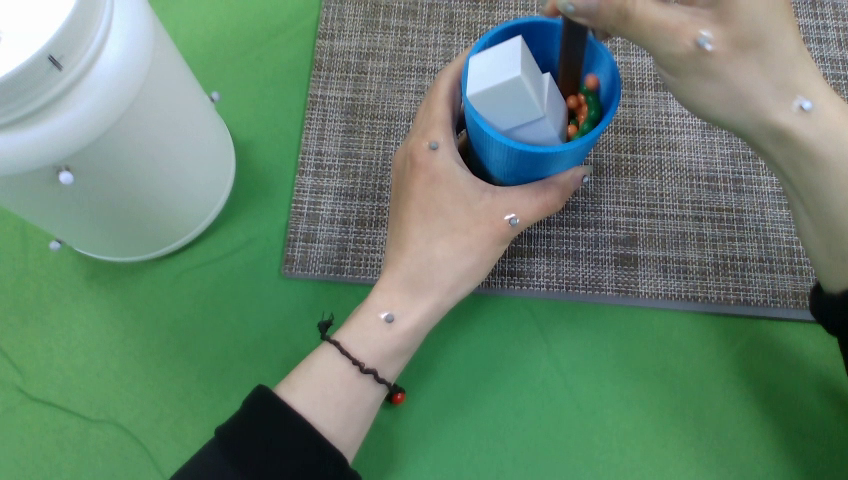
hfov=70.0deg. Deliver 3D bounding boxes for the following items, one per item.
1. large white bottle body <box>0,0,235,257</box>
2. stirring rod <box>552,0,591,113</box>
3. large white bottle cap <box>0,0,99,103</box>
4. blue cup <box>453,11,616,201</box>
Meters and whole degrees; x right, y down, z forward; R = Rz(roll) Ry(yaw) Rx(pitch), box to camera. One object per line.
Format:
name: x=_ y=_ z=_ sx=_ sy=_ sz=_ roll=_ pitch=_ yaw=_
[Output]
large white bottle body: x=-0.193 y=-0.076 z=0.328 sx=0.130 sy=0.185 sz=0.130 roll=0 pitch=72 yaw=0
stirring rod: x=0.075 y=-0.106 z=0.302 sx=0.014 sy=0.177 sz=0.005 roll=-26 pitch=67 yaw=-3
large white bottle cap: x=-0.194 y=-0.104 z=0.248 sx=0.115 sy=0.018 sz=0.114 roll=0 pitch=72 yaw=0
blue cup: x=0.060 y=-0.069 z=0.365 sx=0.092 sy=0.101 sz=0.092 roll=-1 pitch=72 yaw=2
